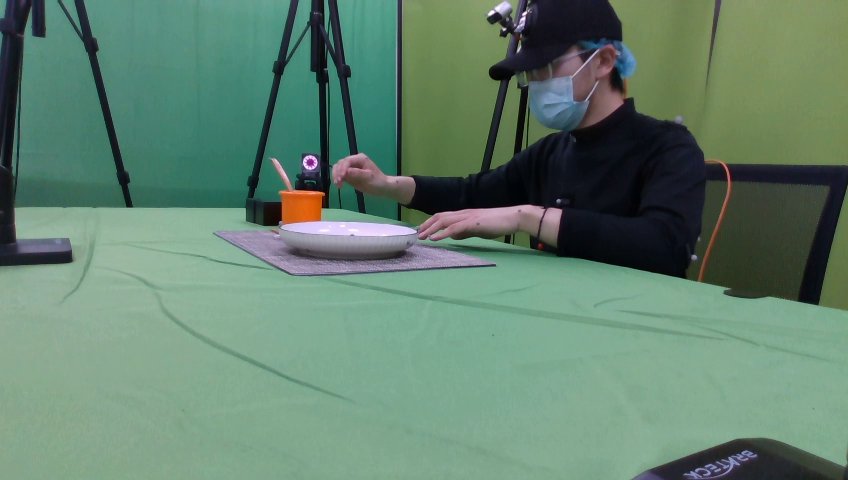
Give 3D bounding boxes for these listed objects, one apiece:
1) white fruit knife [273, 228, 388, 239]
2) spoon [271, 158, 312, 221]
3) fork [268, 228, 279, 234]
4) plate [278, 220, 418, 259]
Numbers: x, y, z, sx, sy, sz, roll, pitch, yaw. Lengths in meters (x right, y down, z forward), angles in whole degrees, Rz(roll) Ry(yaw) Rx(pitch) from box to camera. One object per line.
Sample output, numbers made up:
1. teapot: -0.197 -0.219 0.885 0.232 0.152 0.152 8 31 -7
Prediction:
1. white fruit knife: -0.158 -0.009 1.055 0.208 0.016 0.027 -3 -22 -23
2. spoon: -0.277 -0.103 1.247 0.042 0.193 0.021 -5 -34 -38
3. fork: -0.174 -0.017 1.084 0.208 0.018 0.028 -3 -3 -30
4. plate: -0.114 -0.002 0.914 0.209 0.038 0.209 2 7 0
